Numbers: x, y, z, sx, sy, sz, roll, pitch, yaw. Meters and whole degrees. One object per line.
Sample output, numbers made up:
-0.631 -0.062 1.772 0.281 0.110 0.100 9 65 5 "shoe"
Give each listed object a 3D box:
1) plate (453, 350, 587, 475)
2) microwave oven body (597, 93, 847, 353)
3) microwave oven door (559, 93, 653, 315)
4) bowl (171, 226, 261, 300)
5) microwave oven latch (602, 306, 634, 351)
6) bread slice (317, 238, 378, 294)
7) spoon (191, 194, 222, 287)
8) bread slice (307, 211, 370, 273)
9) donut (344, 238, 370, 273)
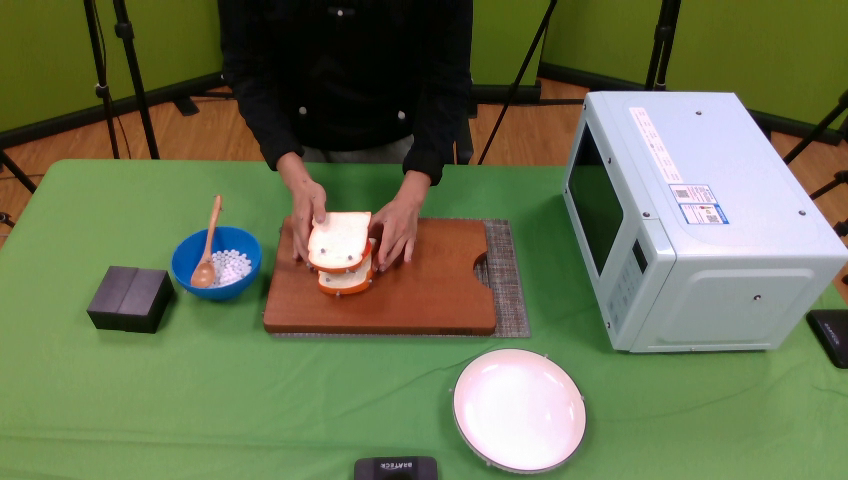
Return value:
0.147 0.267 0.943 0.208 0.039 0.206 2 46 -2 "plate"
0.475 -0.041 1.109 0.326 0.261 0.438 -1 45 -4 "microwave oven body"
0.327 -0.074 1.123 0.039 0.245 0.353 -1 46 -5 "microwave oven door"
-0.364 0.054 1.081 0.151 0.077 0.150 3 45 -3 "bowl"
0.332 0.153 1.044 0.030 0.029 0.078 -1 45 -4 "microwave oven latch"
-0.141 0.045 1.100 0.105 0.019 0.130 -2 44 6 "bread slice"
-0.383 0.000 1.088 0.041 0.022 0.193 -1 66 6 "spoon"
-0.149 0.001 1.061 0.107 0.018 0.133 -3 49 1 "bread slice"
-0.145 0.019 1.084 0.099 0.048 0.098 2 48 -2 "donut"
